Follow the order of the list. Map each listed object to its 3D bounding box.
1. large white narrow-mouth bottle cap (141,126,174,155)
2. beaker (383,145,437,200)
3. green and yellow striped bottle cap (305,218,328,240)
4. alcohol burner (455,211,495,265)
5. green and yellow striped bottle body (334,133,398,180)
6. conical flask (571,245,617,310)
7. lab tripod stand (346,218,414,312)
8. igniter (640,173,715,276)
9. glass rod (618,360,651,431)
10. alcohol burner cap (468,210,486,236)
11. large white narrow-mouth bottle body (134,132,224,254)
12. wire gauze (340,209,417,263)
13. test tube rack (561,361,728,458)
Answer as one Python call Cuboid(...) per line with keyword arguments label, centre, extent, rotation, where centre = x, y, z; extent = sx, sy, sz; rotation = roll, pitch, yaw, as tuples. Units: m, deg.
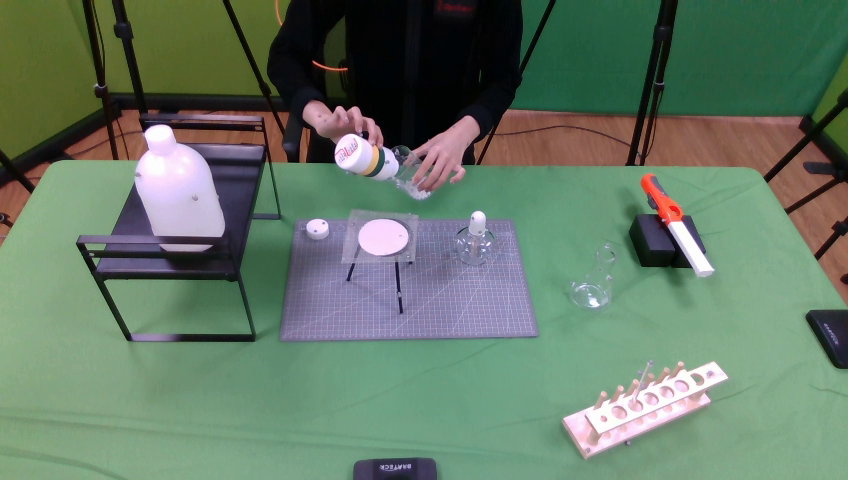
Cuboid(label="large white narrow-mouth bottle cap", centre=(-0.356, -0.133, 0.810), extent=(0.038, 0.024, 0.037), rotation=(2, 48, -1))
Cuboid(label="beaker", centre=(-0.026, -0.127, 1.159), extent=(0.084, 0.101, 0.073), rotation=(-20, 58, 28))
Cuboid(label="green and yellow striped bottle cap", centre=(-0.214, -0.022, 1.203), extent=(0.045, 0.020, 0.045), rotation=(4, 46, -4))
Cuboid(label="alcohol burner", centre=(0.098, -0.010, 1.147), extent=(0.078, 0.120, 0.077), rotation=(1, 47, -1))
Cuboid(label="green and yellow striped bottle body", centre=(-0.098, -0.145, 1.085), extent=(0.120, 0.063, 0.063), rotation=(14, 27, -53))
Cuboid(label="conical flask", centre=(0.313, 0.064, 1.089), extent=(0.075, 0.122, 0.075), rotation=(2, 46, -2))
Cuboid(label="lab tripod stand", centre=(-0.070, 0.037, 1.075), extent=(0.148, 0.132, 0.147), rotation=(1, 48, -1))
Cuboid(label="igniter", centre=(0.495, -0.039, 1.204), extent=(0.057, 0.025, 0.274), rotation=(-2, 47, -13))
Cuboid(label="glass rod", centre=(0.298, 0.227, 0.865), extent=(0.008, 0.201, 0.008), rotation=(-2, 48, 2))
Cuboid(label="alcohol burner cap", centre=(0.100, -0.034, 1.119), extent=(0.034, 0.048, 0.033), rotation=(0, 53, 0))
Cuboid(label="large white narrow-mouth bottle body", centre=(-0.358, -0.075, 0.875), extent=(0.102, 0.195, 0.101), rotation=(1, 48, -1))
Cuboid(label="wire gauze", centre=(-0.074, -0.007, 1.023), extent=(0.121, 0.011, 0.124), rotation=(3, 46, 0))
Cuboid(label="test tube rack", centre=(0.341, 0.248, 0.940), extent=(0.243, 0.085, 0.066), rotation=(-15, 49, -18))
